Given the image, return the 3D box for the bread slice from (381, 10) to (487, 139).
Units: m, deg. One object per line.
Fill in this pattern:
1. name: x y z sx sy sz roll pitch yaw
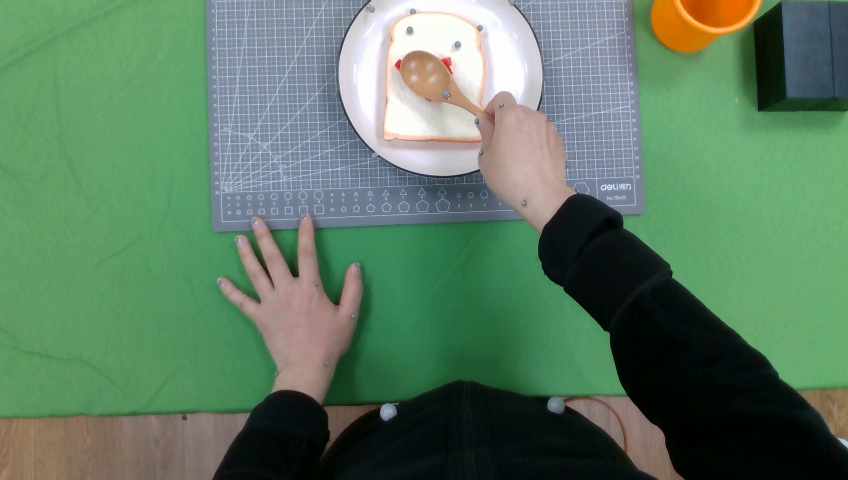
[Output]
1. bread slice: 0.007 -0.168 0.621 0.107 0.018 0.134 -2 87 -4

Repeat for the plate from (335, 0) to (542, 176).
1. plate: 0.015 -0.167 0.620 0.209 0.038 0.208 0 87 -3

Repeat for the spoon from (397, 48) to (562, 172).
1. spoon: 0.051 -0.122 0.576 0.192 0.022 0.041 39 85 17
